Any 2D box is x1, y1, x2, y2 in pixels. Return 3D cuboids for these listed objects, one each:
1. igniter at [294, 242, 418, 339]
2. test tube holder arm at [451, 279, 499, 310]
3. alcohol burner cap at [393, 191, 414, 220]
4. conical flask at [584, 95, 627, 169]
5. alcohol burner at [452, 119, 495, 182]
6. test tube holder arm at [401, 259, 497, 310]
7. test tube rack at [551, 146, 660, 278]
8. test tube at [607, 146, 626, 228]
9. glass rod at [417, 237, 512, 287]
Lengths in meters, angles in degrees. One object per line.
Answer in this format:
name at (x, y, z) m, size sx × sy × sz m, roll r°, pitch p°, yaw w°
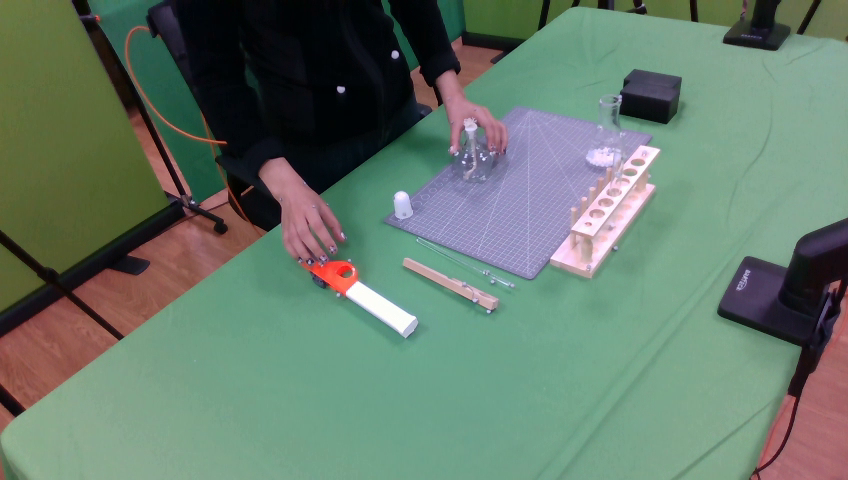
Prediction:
igniter at (-0.114, 0.070, 0.919) m, size 0.274 × 0.025 × 0.057 m, roll 30°, pitch 64°, yaw 37°
test tube holder arm at (0.071, 0.079, 0.883) m, size 0.087 × 0.015 × 0.010 m, roll 23°, pitch 15°, yaw 34°
alcohol burner cap at (-0.037, -0.062, 1.044) m, size 0.034 × 0.048 × 0.033 m, roll -5°, pitch 41°, yaw 5°
conical flask at (0.324, -0.192, 1.066) m, size 0.075 × 0.122 × 0.075 m, roll -6°, pitch 40°, yaw 5°
alcohol burner at (0.088, -0.165, 1.087) m, size 0.078 × 0.119 × 0.077 m, roll -4°, pitch 40°, yaw 4°
test tube holder arm at (0.033, 0.064, 0.903) m, size 0.177 × 0.015 × 0.013 m, roll 23°, pitch 15°, yaw 33°
test tube rack at (0.286, -0.053, 0.943) m, size 0.066 × 0.085 × 0.243 m, roll 21°, pitch 49°, yaw 32°
test tube at (0.283, -0.074, 0.892) m, size 0.017 × 0.151 × 0.017 m, roll -5°, pitch 44°, yaw 6°
glass rod at (0.059, 0.032, 0.945) m, size 0.198 × 0.008 × 0.008 m, roll 26°, pitch 52°, yaw 38°
